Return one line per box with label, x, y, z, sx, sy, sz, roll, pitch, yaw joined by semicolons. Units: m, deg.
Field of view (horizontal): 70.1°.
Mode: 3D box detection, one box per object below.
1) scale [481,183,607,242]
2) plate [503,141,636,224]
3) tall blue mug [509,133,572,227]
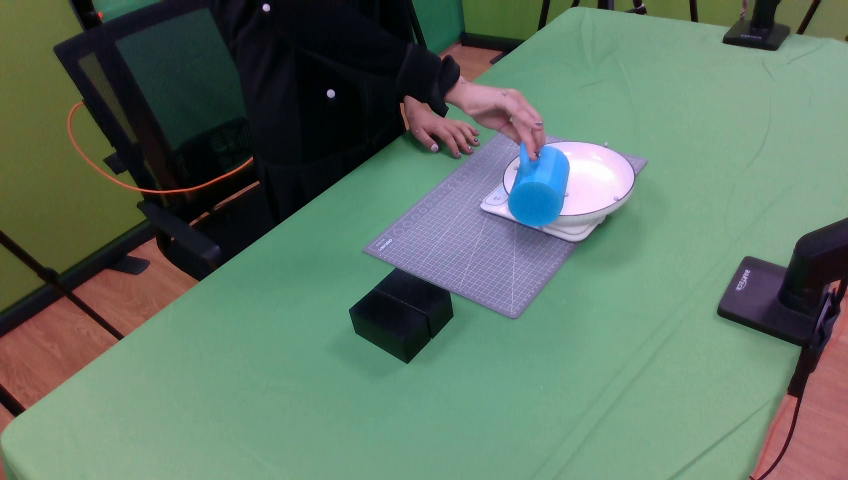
scale;0.211;-0.070;1.014;0.199;0.032;0.149;23;49;33
plate;0.233;-0.091;0.983;0.209;0.038;0.208;-5;41;5
tall blue mug;0.170;-0.092;0.864;0.077;0.107;0.108;14;38;10
